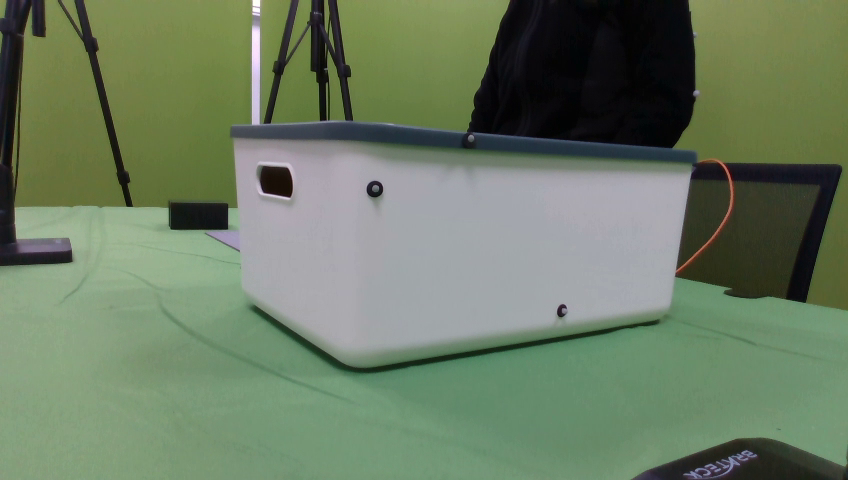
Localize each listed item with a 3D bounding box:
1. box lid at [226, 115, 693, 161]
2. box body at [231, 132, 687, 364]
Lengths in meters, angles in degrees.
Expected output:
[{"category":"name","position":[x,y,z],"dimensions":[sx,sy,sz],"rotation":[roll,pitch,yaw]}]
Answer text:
[{"category":"box lid","position":[0.031,-0.086,0.554],"dimensions":[0.373,0.015,0.262],"rotation":[-2,8,-33]},{"category":"box body","position":[0.031,-0.013,0.563],"dimensions":[0.366,0.160,0.253],"rotation":[-3,8,-33]}]
